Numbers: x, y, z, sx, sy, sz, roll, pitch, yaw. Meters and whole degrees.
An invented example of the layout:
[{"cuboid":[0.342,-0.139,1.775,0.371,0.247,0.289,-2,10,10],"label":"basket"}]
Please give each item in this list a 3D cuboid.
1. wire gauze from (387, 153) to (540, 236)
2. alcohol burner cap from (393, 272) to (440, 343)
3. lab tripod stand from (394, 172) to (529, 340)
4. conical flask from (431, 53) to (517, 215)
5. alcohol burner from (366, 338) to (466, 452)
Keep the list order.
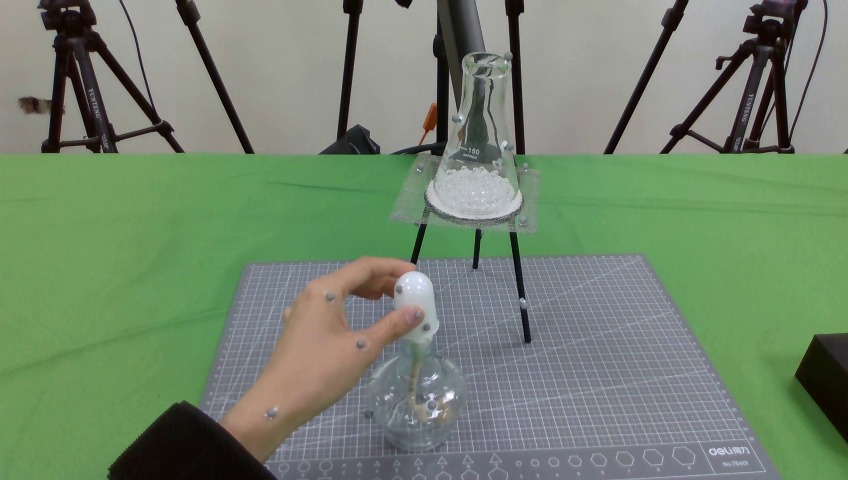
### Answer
[{"cuboid":[0.040,-0.041,0.536,0.121,0.011,0.124,7,37,8],"label":"wire gauze"},{"cuboid":[-0.006,0.045,0.426,0.034,0.048,0.033,-3,30,2],"label":"alcohol burner cap"},{"cuboid":[0.045,0.014,0.572,0.148,0.132,0.147,3,34,-1],"label":"lab tripod stand"},{"cuboid":[0.045,-0.088,0.499,0.075,0.123,0.074,2,35,-1],"label":"conical flask"},{"cuboid":[-0.006,0.102,0.458,0.078,0.120,0.077,1,32,0],"label":"alcohol burner"}]
